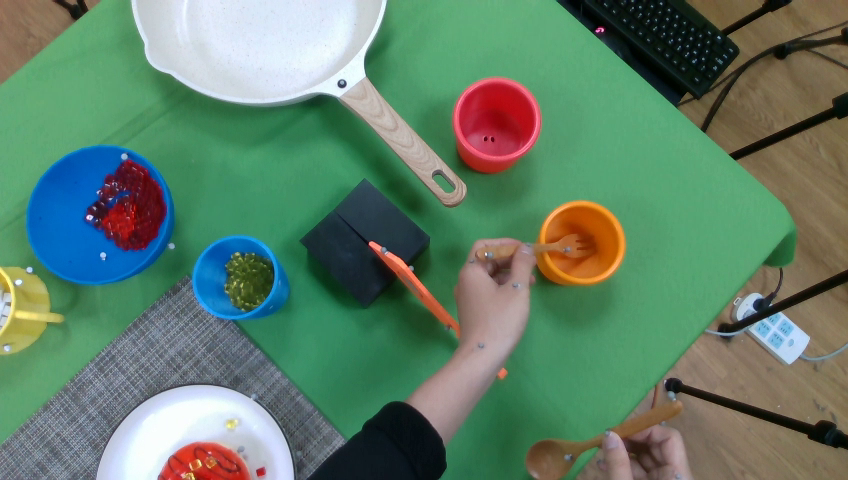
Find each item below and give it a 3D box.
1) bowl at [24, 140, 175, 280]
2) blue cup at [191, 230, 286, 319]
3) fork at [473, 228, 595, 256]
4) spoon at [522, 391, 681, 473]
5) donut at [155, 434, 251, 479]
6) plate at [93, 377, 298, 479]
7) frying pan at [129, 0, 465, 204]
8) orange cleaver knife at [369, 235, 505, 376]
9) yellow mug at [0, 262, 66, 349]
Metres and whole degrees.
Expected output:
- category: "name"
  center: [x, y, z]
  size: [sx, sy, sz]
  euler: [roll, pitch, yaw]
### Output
- category: "bowl"
  center: [-0.341, -0.026, 0.668]
  size: [0.151, 0.077, 0.151]
  euler: [0, 81, -1]
- category: "blue cup"
  center: [-0.189, 0.042, 0.649]
  size: [0.093, 0.100, 0.092]
  euler: [0, 78, -1]
- category: "fork"
  center: [0.122, 0.004, 0.638]
  size: [0.208, 0.018, 0.028]
  euler: [-4, 89, -47]
- category: "spoon"
  center: [0.161, 0.182, 0.570]
  size: [0.022, 0.194, 0.041]
  euler: [-18, 72, -42]
- category: "donut"
  center: [-0.229, 0.253, 0.630]
  size: [0.099, 0.048, 0.099]
  euler: [0, 83, -3]
- category: "plate"
  center: [-0.237, 0.250, 0.641]
  size: [0.209, 0.038, 0.208]
  euler: [0, 81, -1]
- category: "frying pan"
  center: [-0.123, -0.217, 0.692]
  size: [0.307, 0.103, 0.485]
  euler: [-40, 76, -6]
- category: "orange cleaver knife"
  center: [0.015, 0.072, 0.659]
  size: [0.012, 0.076, 0.213]
  euler: [-45, 113, -8]
- category: "yellow mug"
  center: [-0.458, 0.071, 0.655]
  size: [0.131, 0.064, 0.099]
  euler: [8, 81, -1]
